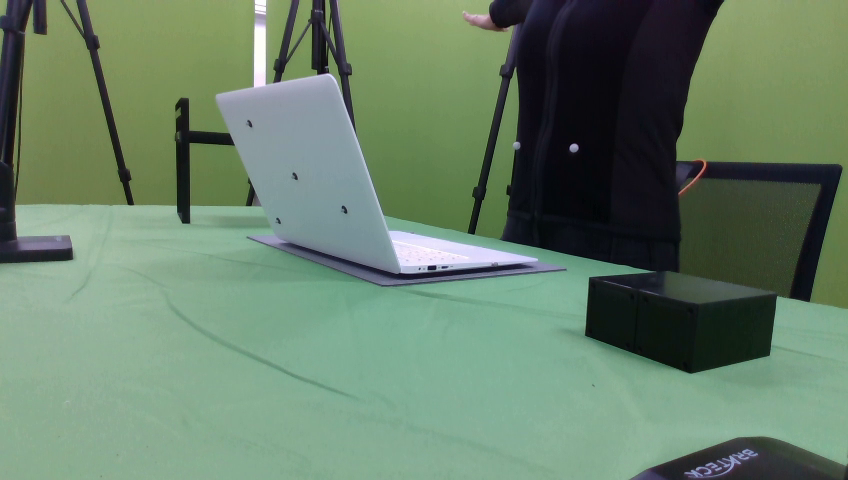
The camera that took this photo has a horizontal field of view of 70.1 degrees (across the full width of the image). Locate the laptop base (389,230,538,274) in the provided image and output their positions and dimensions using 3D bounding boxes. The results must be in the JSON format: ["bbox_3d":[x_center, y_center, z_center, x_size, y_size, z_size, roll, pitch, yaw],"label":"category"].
[{"bbox_3d":[-0.037,0.014,0.895,0.237,0.023,0.352,1,7,-38],"label":"laptop base"}]

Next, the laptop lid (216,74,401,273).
[{"bbox_3d":[-0.164,-0.085,0.781,0.013,0.242,0.355,-32,27,-30],"label":"laptop lid"}]
